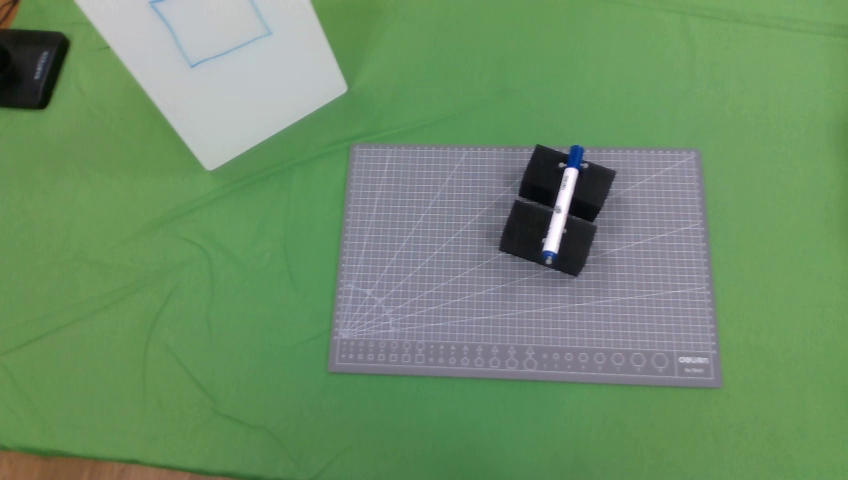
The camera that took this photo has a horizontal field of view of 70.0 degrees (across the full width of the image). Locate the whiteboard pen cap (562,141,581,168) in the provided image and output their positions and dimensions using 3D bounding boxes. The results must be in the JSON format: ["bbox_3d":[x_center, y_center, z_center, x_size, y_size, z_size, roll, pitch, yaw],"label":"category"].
[{"bbox_3d":[0.173,-0.099,0.714,0.018,0.018,0.033,16,71,8],"label":"whiteboard pen cap"}]

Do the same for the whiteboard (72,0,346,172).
[{"bbox_3d":[-0.265,-0.277,0.730,0.217,0.309,0.142,-33,53,-7],"label":"whiteboard"}]

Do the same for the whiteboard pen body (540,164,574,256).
[{"bbox_3d":[0.156,-0.046,0.695,0.017,0.017,0.140,15,71,8],"label":"whiteboard pen body"}]
